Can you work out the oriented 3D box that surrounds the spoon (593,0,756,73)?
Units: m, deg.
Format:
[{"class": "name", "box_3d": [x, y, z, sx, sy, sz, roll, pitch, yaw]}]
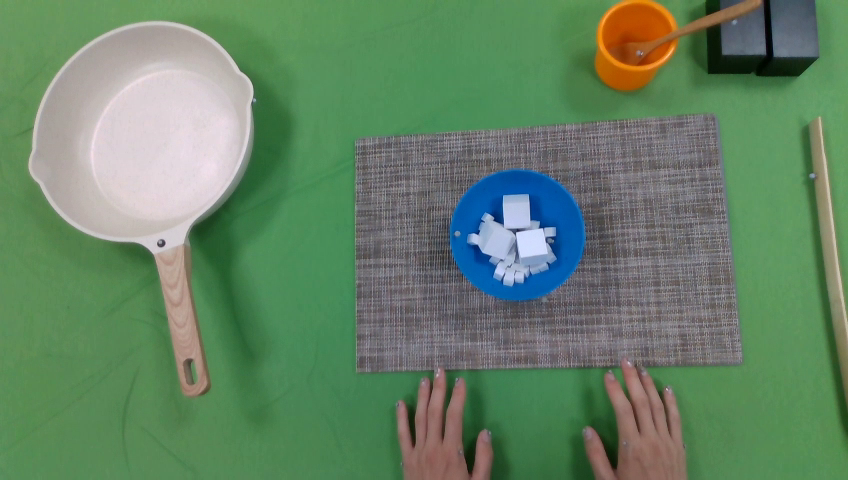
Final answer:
[{"class": "spoon", "box_3d": [0.278, -0.236, 0.690, 0.022, 0.193, 0.041, 2, 81, -37]}]

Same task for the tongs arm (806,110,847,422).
[{"class": "tongs arm", "box_3d": [0.470, 0.039, 0.685, 0.028, 0.028, 0.386, -4, 80, 5]}]

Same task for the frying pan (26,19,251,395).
[{"class": "frying pan", "box_3d": [-0.326, -0.045, 0.753, 0.307, 0.103, 0.484, -19, 71, 4]}]

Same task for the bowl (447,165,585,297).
[{"class": "bowl", "box_3d": [0.105, -0.005, 0.704, 0.151, 0.077, 0.151, -1, 81, 7]}]
